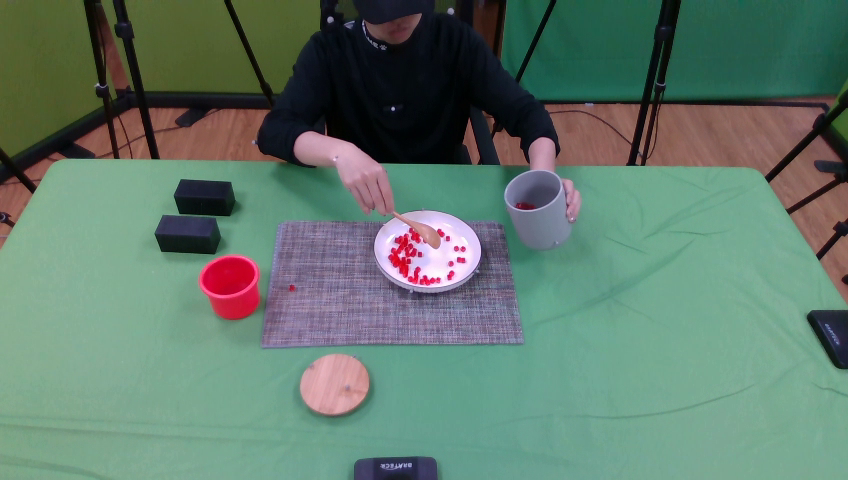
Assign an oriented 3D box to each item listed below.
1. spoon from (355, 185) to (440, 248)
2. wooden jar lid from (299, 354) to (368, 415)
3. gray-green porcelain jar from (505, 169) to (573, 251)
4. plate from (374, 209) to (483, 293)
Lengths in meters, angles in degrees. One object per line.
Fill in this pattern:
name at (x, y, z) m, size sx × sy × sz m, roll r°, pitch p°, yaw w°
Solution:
spoon at (-0.048, -0.044, 1.124) m, size 0.194 × 0.022 × 0.041 m, roll 31°, pitch 38°, yaw -9°
wooden jar lid at (-0.143, 0.232, 0.964) m, size 0.108 × 0.021 × 0.107 m, roll 2°, pitch 45°, yaw -2°
gray-green porcelain jar at (0.215, -0.051, 1.115) m, size 0.106 × 0.127 × 0.105 m, roll -13°, pitch 47°, yaw 15°
plate at (0.008, 0.024, 1.158) m, size 0.208 × 0.039 × 0.206 m, roll 2°, pitch 46°, yaw -2°
